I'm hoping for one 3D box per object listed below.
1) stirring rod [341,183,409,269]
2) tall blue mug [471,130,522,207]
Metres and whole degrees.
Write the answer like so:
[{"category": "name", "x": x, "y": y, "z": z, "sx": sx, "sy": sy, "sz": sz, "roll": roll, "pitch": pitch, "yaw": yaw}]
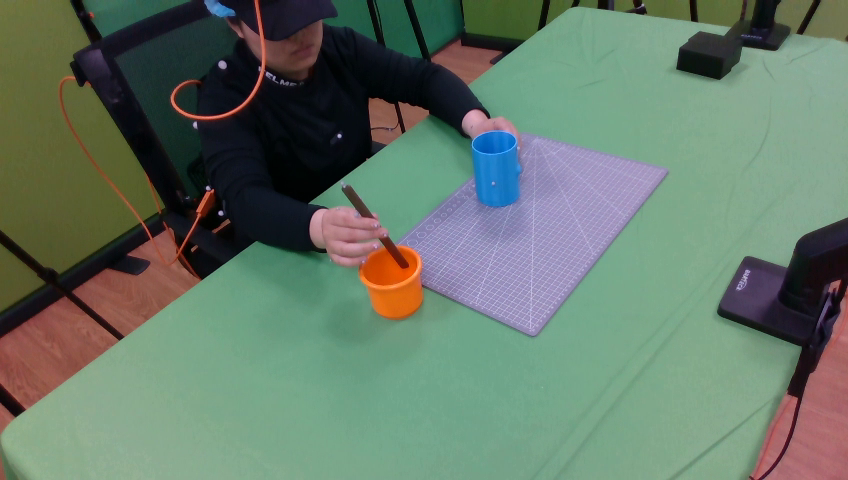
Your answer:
[{"category": "stirring rod", "x": -0.065, "y": -0.015, "z": 0.831, "sx": 0.014, "sy": 0.177, "sz": 0.006, "roll": -20, "pitch": 42, "yaw": 16}, {"category": "tall blue mug", "x": 0.121, "y": -0.131, "z": 1.044, "sx": 0.078, "sy": 0.108, "sz": 0.106, "roll": -14, "pitch": 40, "yaw": -3}]
